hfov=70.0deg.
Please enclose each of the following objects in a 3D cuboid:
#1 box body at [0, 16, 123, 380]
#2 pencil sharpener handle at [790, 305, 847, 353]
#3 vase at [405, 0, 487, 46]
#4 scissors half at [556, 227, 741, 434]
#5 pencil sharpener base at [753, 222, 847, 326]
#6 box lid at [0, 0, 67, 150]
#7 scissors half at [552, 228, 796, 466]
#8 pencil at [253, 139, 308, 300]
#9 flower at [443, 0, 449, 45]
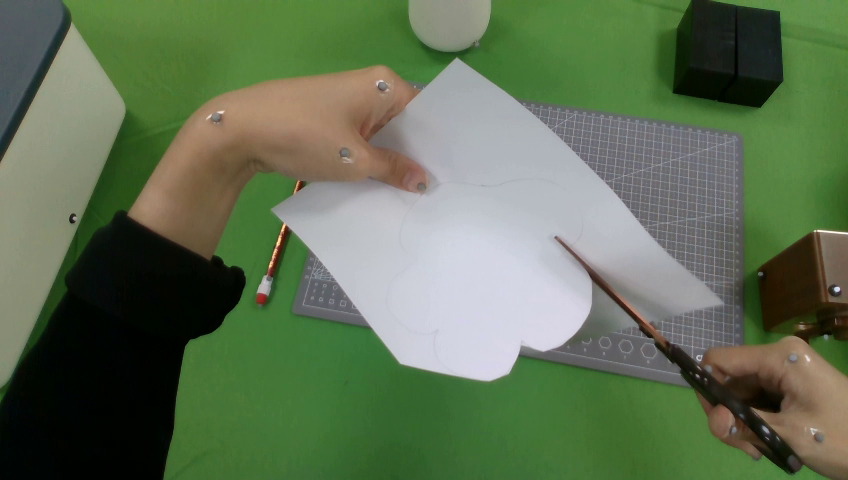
[{"bbox_3d":[-0.485,-0.057,0.574,0.254,0.161,0.362,10,69,4],"label":"box body"},{"bbox_3d":[0.359,0.081,0.543,0.036,0.068,0.030,10,68,-11],"label":"pencil sharpener handle"},{"bbox_3d":[0.025,-0.306,0.656,0.098,0.201,0.097,0,67,1],"label":"vase"},{"bbox_3d":[0.135,0.053,0.353,0.013,0.040,0.176,-44,104,6],"label":"scissors half"},{"bbox_3d":[0.368,0.039,0.573,0.061,0.108,0.076,5,69,2],"label":"pencil sharpener base"},{"bbox_3d":[-0.485,-0.087,0.505,0.263,0.015,0.369,10,69,3],"label":"box lid"},{"bbox_3d":[0.134,0.055,0.332,0.013,0.040,0.174,-44,79,1],"label":"scissors half"},{"bbox_3d":[-0.150,-0.028,0.649,0.012,0.012,0.193,10,67,4],"label":"pencil"},{"bbox_3d":[0.020,-0.350,0.583,0.044,0.365,0.038,3,51,5],"label":"flower"}]
